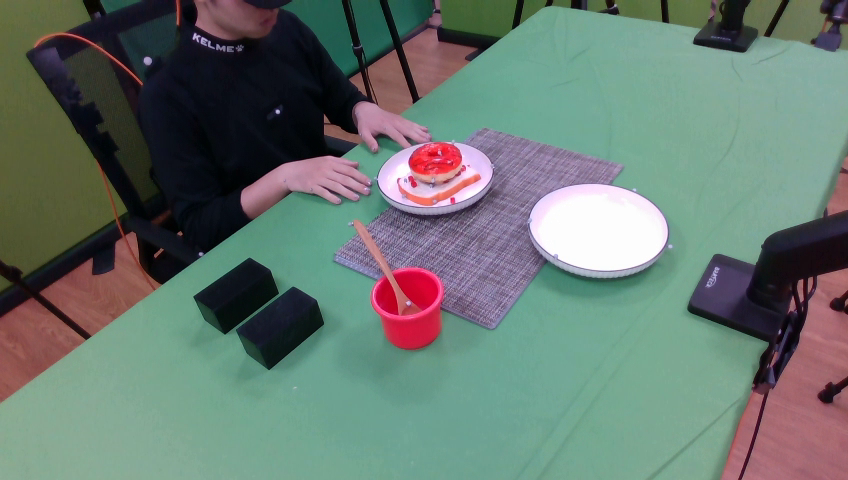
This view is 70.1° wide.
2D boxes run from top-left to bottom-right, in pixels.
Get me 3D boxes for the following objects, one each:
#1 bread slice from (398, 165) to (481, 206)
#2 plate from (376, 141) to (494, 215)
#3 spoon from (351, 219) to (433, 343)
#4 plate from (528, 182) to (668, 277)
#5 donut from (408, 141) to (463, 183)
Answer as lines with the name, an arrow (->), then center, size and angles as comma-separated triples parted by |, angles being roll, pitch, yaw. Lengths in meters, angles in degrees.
bread slice -> 0.021, -0.107, 1.077 | 0.132, 0.019, 0.104 | -32, 46, -28
plate -> 0.021, -0.106, 1.073 | 0.209, 0.038, 0.208 | -4, 40, 4
spoon -> -0.045, 0.054, 0.820 | 0.042, 0.021, 0.193 | -29, 89, -21
plate -> 0.264, -0.014, 0.933 | 0.207, 0.039, 0.206 | -3, 42, 3
donut -> 0.020, -0.138, 1.058 | 0.099, 0.048, 0.098 | -4, 39, 4
